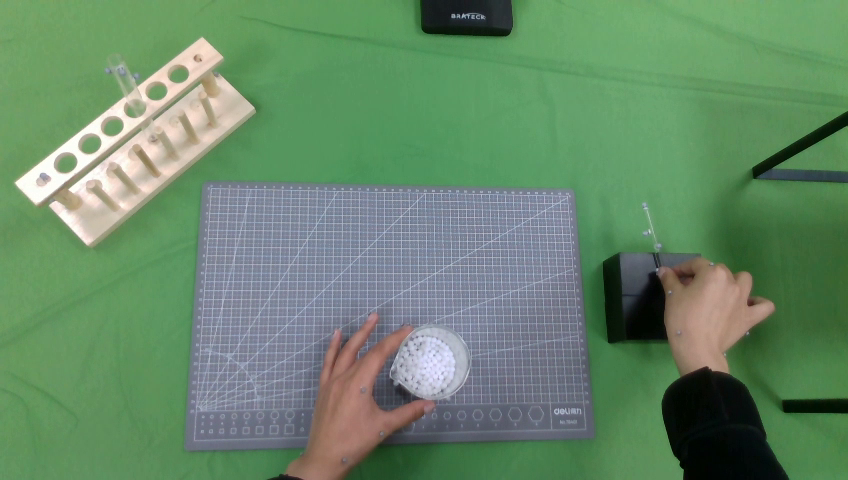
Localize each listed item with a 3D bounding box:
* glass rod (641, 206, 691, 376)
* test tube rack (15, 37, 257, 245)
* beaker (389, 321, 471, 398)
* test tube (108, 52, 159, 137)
[{"bbox_3d":[0.276,0.056,0.693,0.008,0.008,0.198,-9,78,-9],"label":"glass rod"},{"bbox_3d":[-0.305,-0.108,0.670,0.066,0.085,0.242,44,75,6],"label":"test tube rack"},{"bbox_3d":[0.001,0.131,0.642,0.084,0.100,0.073,-16,78,-11],"label":"beaker"},{"bbox_3d":[-0.297,-0.146,0.629,0.017,0.150,0.017,3,72,-10],"label":"test tube"}]
